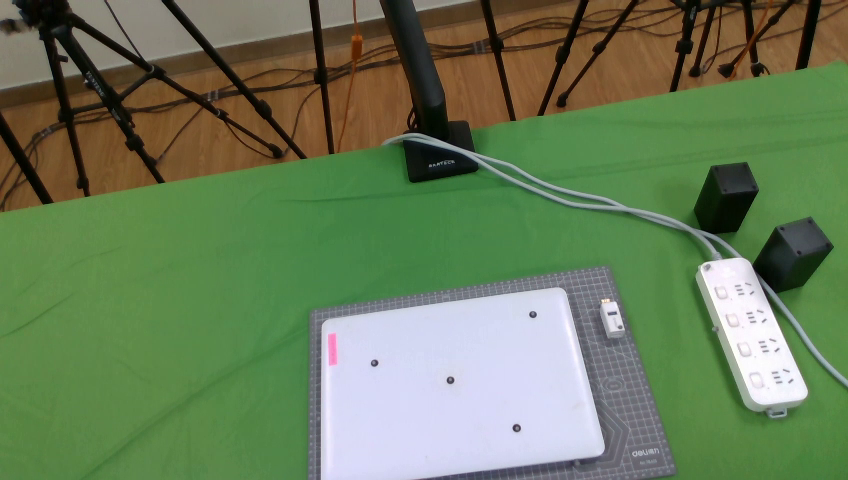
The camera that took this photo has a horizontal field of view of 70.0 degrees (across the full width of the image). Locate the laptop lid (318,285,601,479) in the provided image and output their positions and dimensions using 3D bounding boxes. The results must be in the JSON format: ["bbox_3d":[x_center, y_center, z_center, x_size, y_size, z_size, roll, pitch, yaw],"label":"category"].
[{"bbox_3d":[0.033,0.185,0.800,0.356,0.013,0.239,-7,58,3],"label":"laptop lid"}]

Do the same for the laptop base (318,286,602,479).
[{"bbox_3d":[0.034,0.190,0.811,0.354,0.023,0.233,-9,59,2],"label":"laptop base"}]

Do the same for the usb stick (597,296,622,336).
[{"bbox_3d":[0.253,0.100,0.833,0.021,0.027,0.058,-10,54,4],"label":"usb stick"}]

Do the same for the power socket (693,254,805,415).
[{"bbox_3d":[0.422,0.115,0.799,0.072,0.033,0.224,-8,56,4],"label":"power socket"}]
